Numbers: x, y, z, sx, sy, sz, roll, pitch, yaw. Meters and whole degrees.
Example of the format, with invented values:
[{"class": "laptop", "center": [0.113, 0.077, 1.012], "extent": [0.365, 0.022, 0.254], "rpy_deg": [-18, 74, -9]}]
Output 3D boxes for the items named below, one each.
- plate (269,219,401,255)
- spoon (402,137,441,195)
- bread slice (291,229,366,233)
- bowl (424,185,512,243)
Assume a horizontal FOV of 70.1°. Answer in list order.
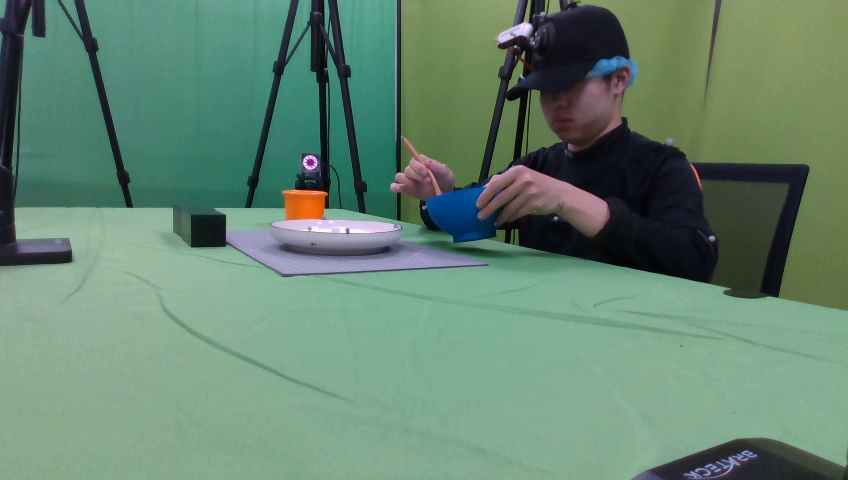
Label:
[{"class": "plate", "center": [-0.140, -0.006, 0.958], "extent": [0.209, 0.038, 0.209], "rpy_deg": [3, 7, 0]}, {"class": "spoon", "center": [0.012, -0.101, 1.042], "extent": [0.021, 0.193, 0.042], "rpy_deg": [-33, -14, 21]}, {"class": "bread slice", "center": [-0.143, -0.003, 0.953], "extent": [0.135, 0.018, 0.106], "rpy_deg": [-1, 8, -37]}, {"class": "bowl", "center": [0.079, -0.038, 1.017], "extent": [0.151, 0.076, 0.151], "rpy_deg": [-8, -5, 0]}]
